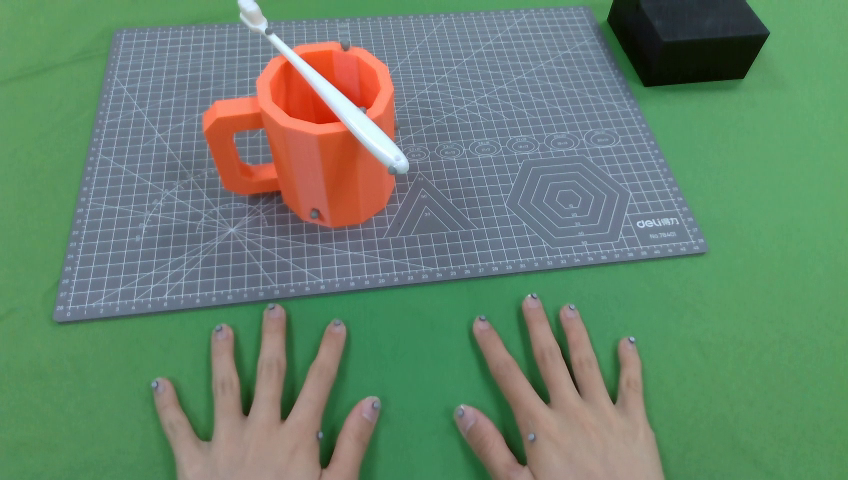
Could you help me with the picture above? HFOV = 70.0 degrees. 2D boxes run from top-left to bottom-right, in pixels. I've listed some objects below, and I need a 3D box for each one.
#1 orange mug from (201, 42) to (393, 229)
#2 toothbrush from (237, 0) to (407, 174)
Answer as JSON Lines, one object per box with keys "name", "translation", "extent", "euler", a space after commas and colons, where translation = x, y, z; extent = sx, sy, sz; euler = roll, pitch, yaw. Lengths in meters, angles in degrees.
{"name": "orange mug", "translation": [-0.083, -0.068, 0.417], "extent": [0.126, 0.101, 0.082], "euler": [-8, 56, -14]}
{"name": "toothbrush", "translation": [-0.068, -0.100, 0.377], "extent": [0.014, 0.017, 0.180], "euler": [-32, 63, -23]}
